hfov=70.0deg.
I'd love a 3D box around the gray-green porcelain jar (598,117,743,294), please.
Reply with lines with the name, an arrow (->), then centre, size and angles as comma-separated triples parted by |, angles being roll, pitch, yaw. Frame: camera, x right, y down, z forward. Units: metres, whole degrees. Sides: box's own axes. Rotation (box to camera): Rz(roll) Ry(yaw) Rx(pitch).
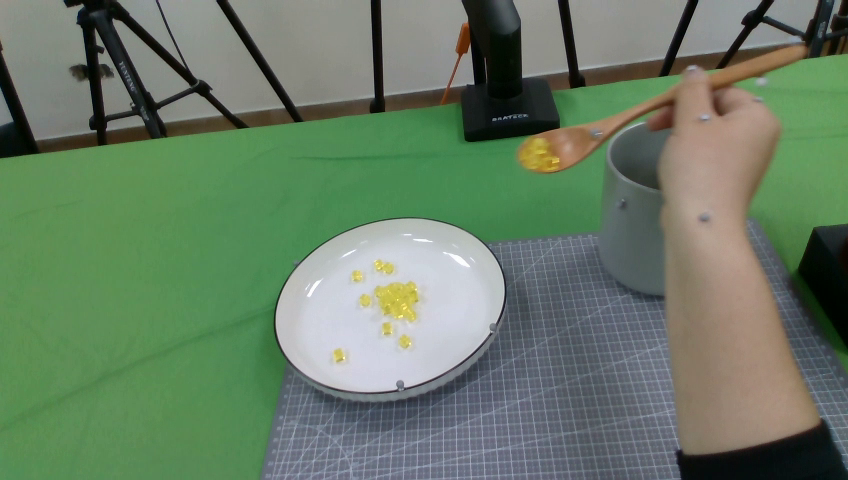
gray-green porcelain jar -> 0.206, -0.025, 0.524 | 0.106, 0.128, 0.105 | -6, 43, 6

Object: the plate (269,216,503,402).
plate -> -0.033, 0.060, 0.546 | 0.207, 0.039, 0.205 | -5, 43, 5

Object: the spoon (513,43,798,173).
spoon -> 0.154, -0.091, 0.419 | 0.193, 0.022, 0.041 | -22, 48, 21
